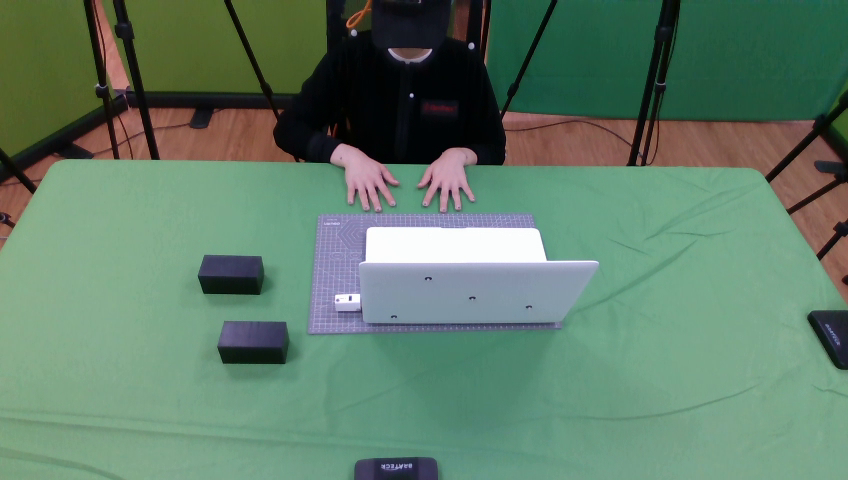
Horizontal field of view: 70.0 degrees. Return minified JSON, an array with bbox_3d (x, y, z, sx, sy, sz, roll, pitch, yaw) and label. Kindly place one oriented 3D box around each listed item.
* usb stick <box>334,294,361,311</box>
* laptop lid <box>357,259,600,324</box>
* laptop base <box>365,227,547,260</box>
[{"bbox_3d":[-0.128,0.111,1.066,0.059,0.027,0.021,2,45,-5],"label":"usb stick"},{"bbox_3d":[0.075,0.087,0.959,0.357,0.242,0.013,1,60,-5],"label":"laptop lid"},{"bbox_3d":[0.064,0.062,1.144,0.355,0.023,0.234,0,43,-4],"label":"laptop base"}]
